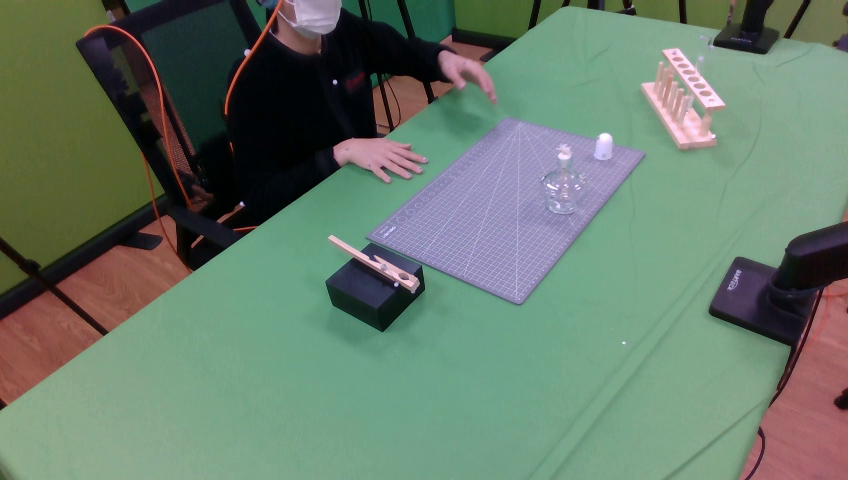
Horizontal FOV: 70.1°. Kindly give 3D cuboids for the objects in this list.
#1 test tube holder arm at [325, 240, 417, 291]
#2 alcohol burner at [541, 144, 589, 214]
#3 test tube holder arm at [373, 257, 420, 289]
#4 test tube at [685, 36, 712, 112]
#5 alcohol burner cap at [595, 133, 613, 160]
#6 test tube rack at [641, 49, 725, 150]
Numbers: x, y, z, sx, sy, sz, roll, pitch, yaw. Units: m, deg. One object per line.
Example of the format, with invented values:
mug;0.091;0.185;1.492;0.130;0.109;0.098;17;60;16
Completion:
test tube holder arm;-0.080;0.034;0.874;0.177;0.015;0.013;22;48;31
alcohol burner;0.229;-0.102;0.983;0.078;0.119;0.077;-6;41;5
test tube holder arm;-0.042;0.046;0.854;0.087;0.015;0.010;24;49;33
test tube;0.509;-0.307;1.129;0.017;0.151;0.017;-1;42;2
alcohol burner cap;0.330;-0.172;1.104;0.034;0.048;0.033;-5;41;5
test tube rack;0.495;-0.279;1.175;0.067;0.085;0.241;-5;41;3
